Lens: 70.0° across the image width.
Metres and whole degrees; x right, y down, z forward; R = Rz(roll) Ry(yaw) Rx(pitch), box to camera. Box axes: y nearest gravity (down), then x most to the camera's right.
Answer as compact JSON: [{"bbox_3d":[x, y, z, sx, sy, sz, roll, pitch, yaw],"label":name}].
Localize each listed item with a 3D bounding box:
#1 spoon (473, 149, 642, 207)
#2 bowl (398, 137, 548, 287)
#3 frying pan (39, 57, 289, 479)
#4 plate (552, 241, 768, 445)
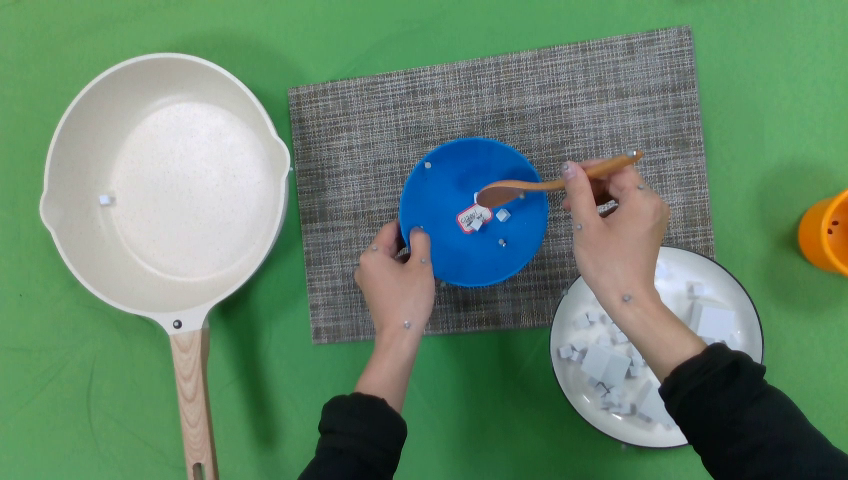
[{"bbox_3d":[0.113,-0.052,0.544,0.042,0.193,0.021,15,77,-33],"label":"spoon"},{"bbox_3d":[0.053,-0.027,0.637,0.151,0.077,0.151,0,90,10],"label":"bowl"},{"bbox_3d":[-0.272,0.043,0.682,0.306,0.103,0.485,-11,80,10],"label":"frying pan"},{"bbox_3d":[0.238,0.104,0.628,0.207,0.039,0.207,0,92,10],"label":"plate"}]
